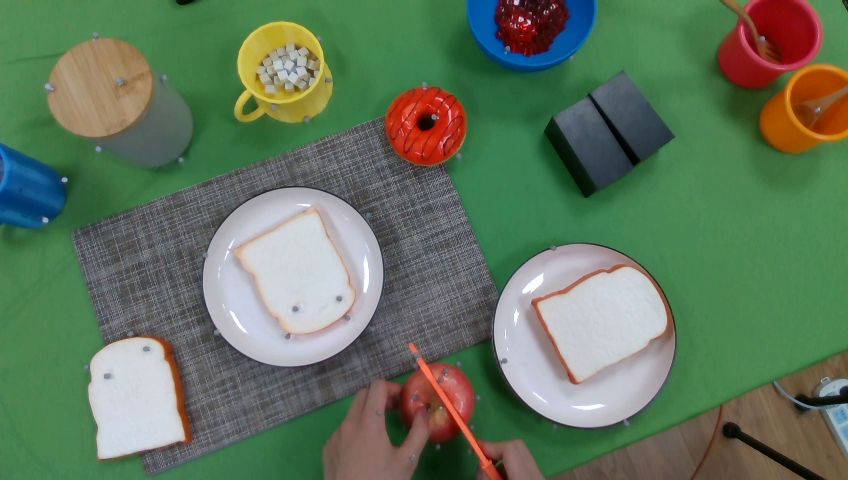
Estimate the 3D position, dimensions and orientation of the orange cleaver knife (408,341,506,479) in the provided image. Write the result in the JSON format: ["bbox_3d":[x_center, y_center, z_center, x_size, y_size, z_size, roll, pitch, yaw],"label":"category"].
[{"bbox_3d":[0.044,0.195,0.631,0.012,0.077,0.212,-34,97,-5],"label":"orange cleaver knife"}]

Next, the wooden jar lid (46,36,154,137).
[{"bbox_3d":[-0.331,-0.157,0.625,0.108,0.021,0.108,0,80,1],"label":"wooden jar lid"}]

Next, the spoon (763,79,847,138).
[{"bbox_3d":[0.482,-0.178,0.684,0.022,0.194,0.041,-18,77,-48],"label":"spoon"}]

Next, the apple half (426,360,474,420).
[{"bbox_3d":[0.034,0.159,0.671,0.033,0.081,0.081,-35,83,-7],"label":"apple half"}]

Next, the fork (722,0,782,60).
[{"bbox_3d":[0.364,-0.256,0.694,0.209,0.018,0.028,17,78,-39],"label":"fork"}]

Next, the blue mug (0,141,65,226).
[{"bbox_3d":[-0.488,-0.053,0.683,0.082,0.106,0.116,42,84,6],"label":"blue mug"}]

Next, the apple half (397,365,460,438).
[{"bbox_3d":[-0.001,0.182,0.668,0.053,0.075,0.080,-34,86,1],"label":"apple half"}]

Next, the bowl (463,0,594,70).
[{"bbox_3d":[0.120,-0.267,0.730,0.151,0.077,0.151,0,82,0],"label":"bowl"}]

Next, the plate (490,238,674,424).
[{"bbox_3d":[0.178,0.103,0.697,0.209,0.038,0.208,0,82,0],"label":"plate"}]

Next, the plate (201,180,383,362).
[{"bbox_3d":[-0.149,0.036,0.702,0.208,0.039,0.207,0,82,0],"label":"plate"}]

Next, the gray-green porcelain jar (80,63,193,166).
[{"bbox_3d":[-0.331,-0.146,0.687,0.106,0.127,0.105,0,81,0],"label":"gray-green porcelain jar"}]

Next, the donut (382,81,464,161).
[{"bbox_3d":[-0.001,-0.142,0.725,0.099,0.048,0.098,0,83,0],"label":"donut"}]

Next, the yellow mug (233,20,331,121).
[{"bbox_3d":[-0.178,-0.191,0.724,0.099,0.064,0.131,44,85,6],"label":"yellow mug"}]

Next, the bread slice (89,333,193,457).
[{"bbox_3d":[-0.330,0.173,0.692,0.105,0.019,0.131,-14,83,-3],"label":"bread slice"}]

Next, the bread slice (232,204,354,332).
[{"bbox_3d":[-0.142,0.038,0.703,0.107,0.018,0.134,-33,83,-4],"label":"bread slice"}]
